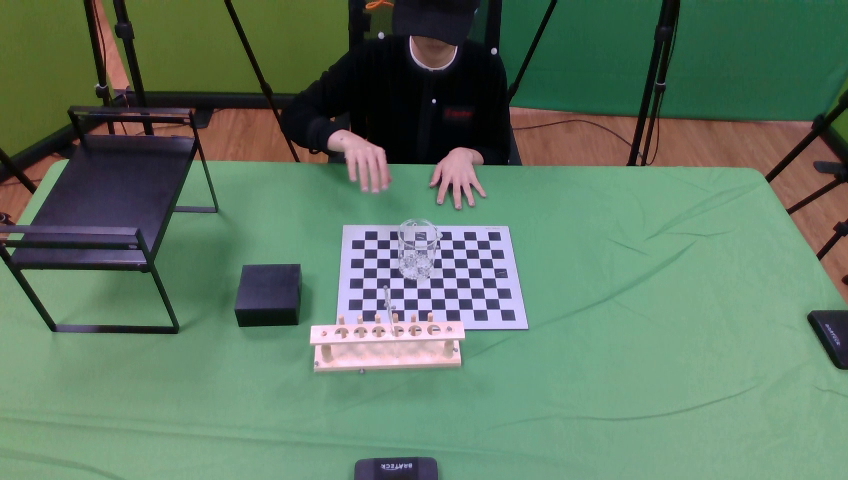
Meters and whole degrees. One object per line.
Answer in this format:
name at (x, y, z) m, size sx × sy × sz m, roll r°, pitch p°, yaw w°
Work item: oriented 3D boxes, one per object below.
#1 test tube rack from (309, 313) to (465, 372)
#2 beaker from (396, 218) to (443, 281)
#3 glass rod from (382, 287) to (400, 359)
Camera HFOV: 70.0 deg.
test tube rack at (-0.059, 0.161, 0.990) m, size 0.242 × 0.085 × 0.066 m, roll -1°, pitch 46°, yaw -5°
beaker at (-0.010, 0.020, 1.116) m, size 0.084 × 0.101 × 0.073 m, roll 1°, pitch 46°, yaw -3°
glass rod at (-0.049, 0.133, 0.926) m, size 0.008 × 0.201 × 0.008 m, roll -3°, pitch 50°, yaw 3°
